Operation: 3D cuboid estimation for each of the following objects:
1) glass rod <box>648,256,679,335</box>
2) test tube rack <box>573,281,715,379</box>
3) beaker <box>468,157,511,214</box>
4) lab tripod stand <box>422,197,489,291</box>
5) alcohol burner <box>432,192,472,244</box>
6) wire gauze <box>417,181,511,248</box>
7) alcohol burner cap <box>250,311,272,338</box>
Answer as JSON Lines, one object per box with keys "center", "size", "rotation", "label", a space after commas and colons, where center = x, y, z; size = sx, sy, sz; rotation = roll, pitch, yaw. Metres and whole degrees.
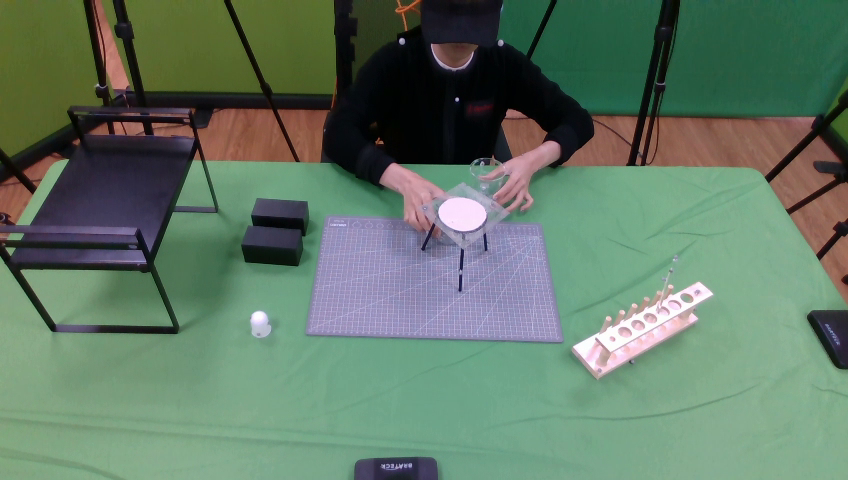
{"center": [0.390, 0.095, 0.990], "size": [0.008, 0.201, 0.008], "rotation": [-2, 46, 3], "label": "glass rod"}
{"center": [0.378, 0.140, 1.038], "size": [0.242, 0.085, 0.066], "rotation": [-22, 51, -22], "label": "test tube rack"}
{"center": [0.132, -0.110, 1.256], "size": [0.084, 0.101, 0.073], "rotation": [-1, 46, -5], "label": "beaker"}
{"center": [0.064, -0.002, 1.119], "size": [0.148, 0.132, 0.147], "rotation": [1, 47, -1], "label": "lab tripod stand"}
{"center": [0.055, -0.047, 1.170], "size": [0.078, 0.119, 0.077], "rotation": [2, 51, -3], "label": "alcohol burner"}
{"center": [0.071, -0.051, 1.072], "size": [0.121, 0.011, 0.124], "rotation": [-32, 55, -29], "label": "wire gauze"}
{"center": [-0.278, 0.141, 1.026], "size": [0.034, 0.048, 0.033], "rotation": [1, 46, -1], "label": "alcohol burner cap"}
